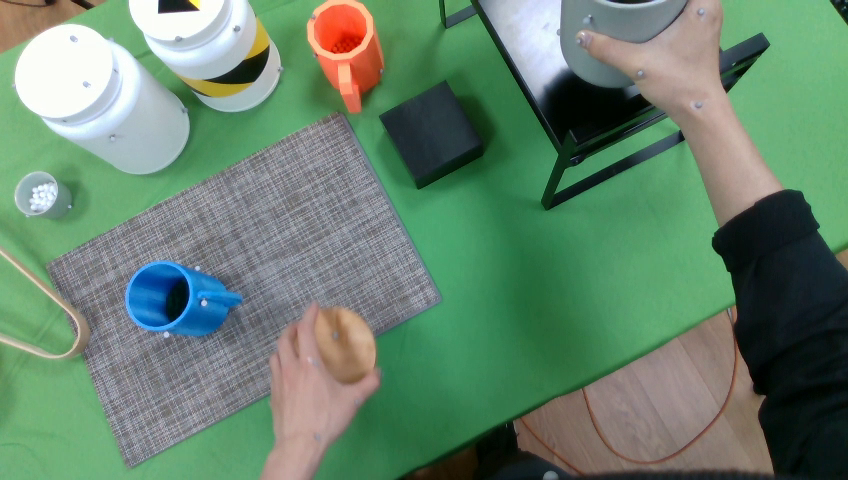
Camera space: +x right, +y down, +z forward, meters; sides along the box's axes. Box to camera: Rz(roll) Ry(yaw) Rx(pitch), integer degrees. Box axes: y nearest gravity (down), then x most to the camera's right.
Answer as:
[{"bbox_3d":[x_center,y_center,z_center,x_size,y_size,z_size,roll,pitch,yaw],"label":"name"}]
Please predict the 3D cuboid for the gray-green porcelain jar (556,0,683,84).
[{"bbox_3d":[0.169,-0.208,0.529,0.105,0.127,0.105,-3,72,10],"label":"gray-green porcelain jar"}]

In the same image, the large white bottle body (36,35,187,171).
[{"bbox_3d":[-0.401,-0.175,0.767,0.130,0.185,0.130,-1,78,4],"label":"large white bottle body"}]

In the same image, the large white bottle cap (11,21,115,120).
[{"bbox_3d":[-0.408,-0.192,0.684,0.115,0.018,0.114,-1,79,4],"label":"large white bottle cap"}]

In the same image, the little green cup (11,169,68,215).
[{"bbox_3d":[-0.523,-0.063,0.828,0.061,0.039,0.061,0,80,3],"label":"little green cup"}]

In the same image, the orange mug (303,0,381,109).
[{"bbox_3d":[-0.106,-0.244,0.806,0.083,0.101,0.125,-5,74,3],"label":"orange mug"}]

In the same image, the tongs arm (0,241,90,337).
[{"bbox_3d":[-0.591,-0.002,0.805,0.387,0.028,0.028,38,75,3],"label":"tongs arm"}]

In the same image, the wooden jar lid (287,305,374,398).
[{"bbox_3d":[-0.109,0.131,0.717,0.108,0.021,0.108,-1,86,14],"label":"wooden jar lid"}]

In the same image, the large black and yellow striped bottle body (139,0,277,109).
[{"bbox_3d":[-0.278,-0.262,0.777,0.131,0.185,0.130,-1,78,4],"label":"large black and yellow striped bottle body"}]

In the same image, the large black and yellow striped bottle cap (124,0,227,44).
[{"bbox_3d":[-0.285,-0.281,0.695,0.115,0.019,0.114,0,79,3],"label":"large black and yellow striped bottle cap"}]

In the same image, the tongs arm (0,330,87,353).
[{"bbox_3d":[-0.632,0.070,0.790,0.385,0.026,0.050,24,78,1],"label":"tongs arm"}]

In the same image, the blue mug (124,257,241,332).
[{"bbox_3d":[-0.288,0.069,0.750,0.116,0.106,0.082,-3,78,3],"label":"blue mug"}]
